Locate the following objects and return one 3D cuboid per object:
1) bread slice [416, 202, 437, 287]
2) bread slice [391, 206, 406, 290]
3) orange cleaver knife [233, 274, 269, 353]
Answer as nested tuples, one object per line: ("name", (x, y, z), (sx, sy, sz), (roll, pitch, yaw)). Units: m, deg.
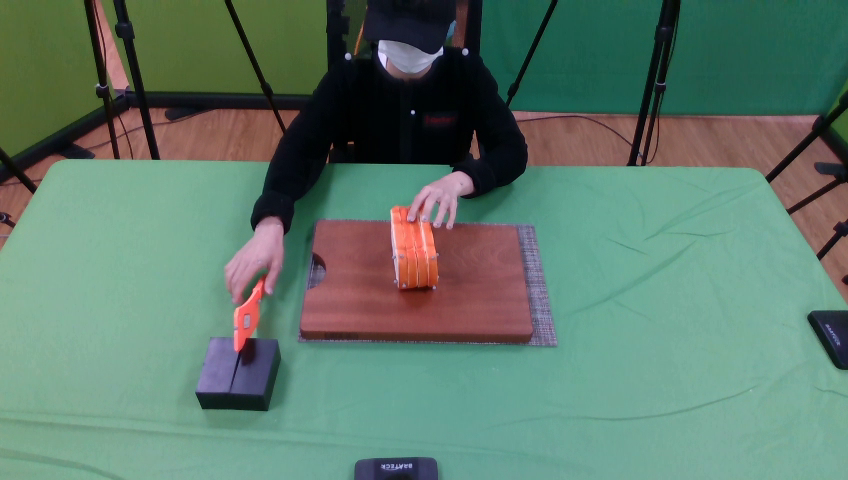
("bread slice", (0.004, 0.018, 1.086), (0.018, 0.107, 0.133), (-8, 55, -5))
("bread slice", (-0.045, 0.020, 1.078), (0.019, 0.105, 0.130), (-4, 53, -4))
("orange cleaver knife", (-0.290, 0.118, 1.020), (0.012, 0.077, 0.210), (2, 18, -1))
